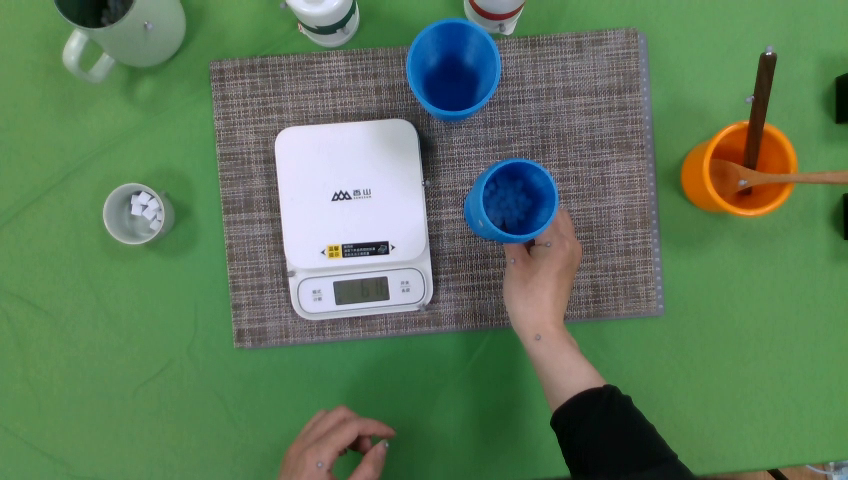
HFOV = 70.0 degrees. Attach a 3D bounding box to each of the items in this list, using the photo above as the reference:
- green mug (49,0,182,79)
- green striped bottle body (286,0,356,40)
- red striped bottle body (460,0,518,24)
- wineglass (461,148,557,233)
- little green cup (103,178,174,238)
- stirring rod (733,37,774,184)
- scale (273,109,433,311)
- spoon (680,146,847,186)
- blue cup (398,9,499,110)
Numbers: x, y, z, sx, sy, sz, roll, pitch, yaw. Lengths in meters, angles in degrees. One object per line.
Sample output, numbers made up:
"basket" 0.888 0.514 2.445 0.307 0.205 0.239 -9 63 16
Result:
"green mug" -0.302 -0.213 0.582 0.092 0.105 0.125 30 91 -2
"green striped bottle body" -0.102 -0.239 0.576 0.063 0.119 0.063 0 92 -1
"red striped bottle body" 0.068 -0.256 0.578 0.063 0.119 0.063 0 92 -1
"wineglass" 0.072 -0.042 0.555 0.074 0.172 0.073 0 91 0
"little green cup" -0.289 -0.032 0.621 0.061 0.038 0.061 0 92 -2
"stirring rod" 0.308 -0.114 0.571 0.014 0.178 0.006 13 58 28
"scale" -0.073 -0.030 0.624 0.149 0.031 0.201 -6 93 0
"spoon" 0.344 -0.071 0.575 0.022 0.192 0.042 -14 104 -43
"blue cup" 0.024 -0.165 0.587 0.092 0.100 0.092 0 94 0
